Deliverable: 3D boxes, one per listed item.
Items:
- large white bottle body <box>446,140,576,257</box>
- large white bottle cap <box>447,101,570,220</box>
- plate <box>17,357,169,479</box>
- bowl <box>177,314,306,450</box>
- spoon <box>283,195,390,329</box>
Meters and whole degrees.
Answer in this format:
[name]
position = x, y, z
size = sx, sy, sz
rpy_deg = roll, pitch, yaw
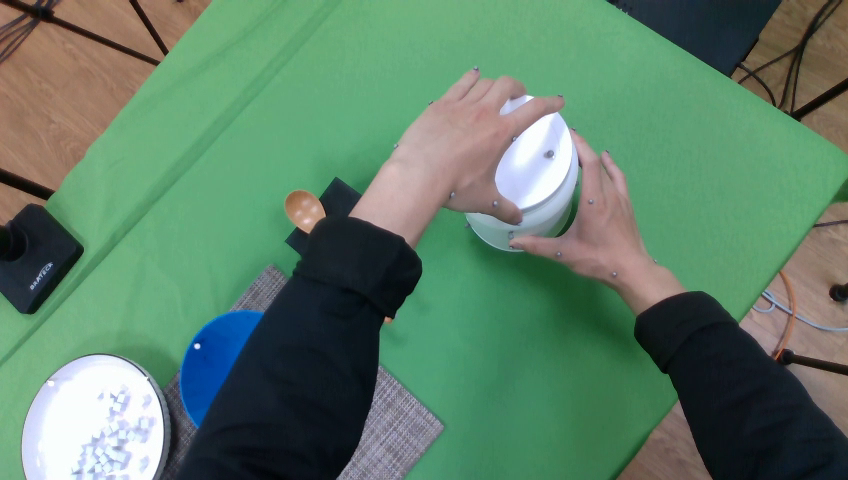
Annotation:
[large white bottle body]
position = 0.095, -0.059, 0.651
size = 0.130, 0.185, 0.130
rpy_deg = -2, 79, 10
[large white bottle cap]
position = 0.079, -0.076, 0.569
size = 0.114, 0.018, 0.114
rpy_deg = -2, 78, 11
[plate]
position = -0.408, 0.252, 0.760
size = 0.209, 0.038, 0.208
rpy_deg = -3, 77, 12
[bowl]
position = -0.201, 0.165, 0.716
size = 0.151, 0.077, 0.150
rpy_deg = -2, 79, 10
[spoon]
position = -0.102, 0.027, 0.709
size = 0.041, 0.022, 0.193
rpy_deg = -37, 81, -4
